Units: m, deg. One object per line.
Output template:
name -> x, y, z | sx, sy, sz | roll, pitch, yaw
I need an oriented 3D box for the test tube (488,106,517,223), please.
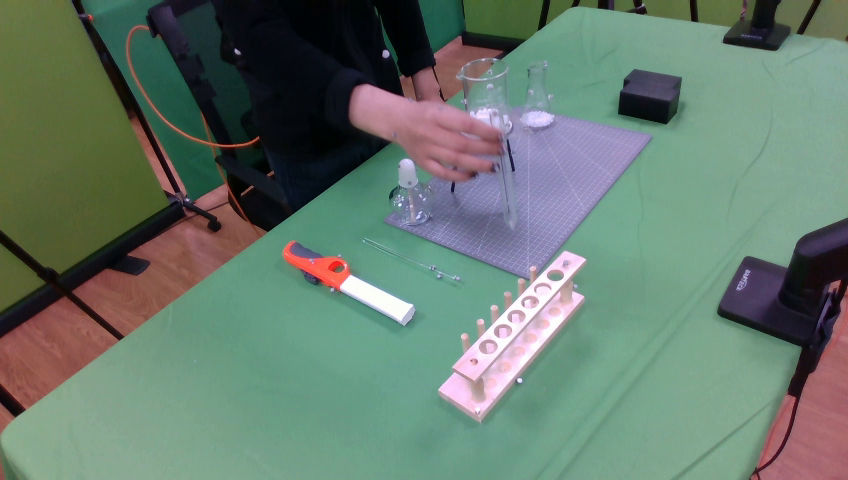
test tube -> 0.092, -0.083, 0.703 | 0.017, 0.151, 0.017 | -10, 33, 7

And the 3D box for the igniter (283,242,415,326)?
igniter -> -0.126, 0.062, 0.931 | 0.274, 0.025, 0.057 | 24, 61, 33

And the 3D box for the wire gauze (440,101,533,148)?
wire gauze -> 0.100, -0.189, 0.995 | 0.125, 0.011, 0.120 | -16, 37, -6

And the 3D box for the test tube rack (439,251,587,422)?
test tube rack -> 0.118, 0.111, 0.780 | 0.066, 0.085, 0.243 | 26, 51, 35

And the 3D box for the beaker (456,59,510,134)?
beaker -> 0.097, -0.226, 0.964 | 0.084, 0.101, 0.073 | -7, 39, 4

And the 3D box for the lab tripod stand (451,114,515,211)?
lab tripod stand -> 0.113, -0.140, 1.037 | 0.148, 0.132, 0.147 | -6, 38, 5

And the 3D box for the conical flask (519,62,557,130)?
conical flask -> 0.225, -0.287, 1.198 | 0.075, 0.122, 0.075 | -6, 40, 5

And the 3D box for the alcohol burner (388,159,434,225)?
alcohol burner -> -0.023, -0.085, 1.013 | 0.078, 0.119, 0.077 | -4, 39, 4

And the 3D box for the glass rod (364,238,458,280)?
glass rod -> -0.026, 0.029, 0.966 | 0.198, 0.008, 0.008 | 21, 49, 35

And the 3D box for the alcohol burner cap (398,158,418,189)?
alcohol burner cap -> -0.028, -0.111, 0.989 | 0.034, 0.048, 0.033 | -3, 47, 4
